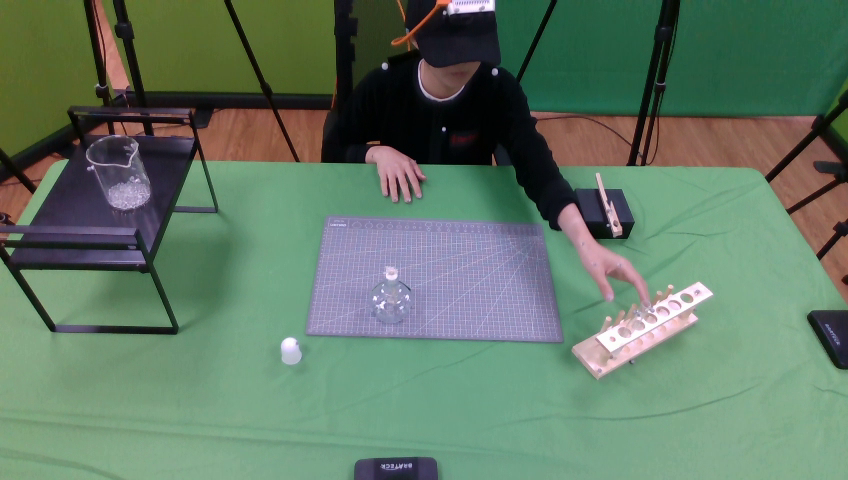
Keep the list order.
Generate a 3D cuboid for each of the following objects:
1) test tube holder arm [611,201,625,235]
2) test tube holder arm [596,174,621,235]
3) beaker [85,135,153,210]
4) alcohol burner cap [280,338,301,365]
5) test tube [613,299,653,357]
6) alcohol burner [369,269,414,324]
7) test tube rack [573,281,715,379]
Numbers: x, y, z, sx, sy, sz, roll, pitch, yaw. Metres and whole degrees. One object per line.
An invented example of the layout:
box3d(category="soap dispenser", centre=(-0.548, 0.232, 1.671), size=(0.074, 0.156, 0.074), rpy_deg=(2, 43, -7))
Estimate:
box3d(category="test tube holder arm", centre=(0.380, -0.045, 1.196), size=(0.010, 0.015, 0.087), rpy_deg=(-5, 44, 2))
box3d(category="test tube holder arm", centre=(0.373, -0.076, 1.229), size=(0.013, 0.015, 0.177), rpy_deg=(-6, 44, 2))
box3d(category="beaker", centre=(-0.475, -0.102, 0.957), size=(0.083, 0.101, 0.074), rpy_deg=(34, 53, 26))
box3d(category="alcohol burner cap", centre=(-0.220, 0.179, 0.993), size=(0.034, 0.048, 0.033), rpy_deg=(2, 46, -2))
box3d(category="test tube", centre=(0.328, 0.143, 0.963), size=(0.017, 0.151, 0.017), rpy_deg=(4, 49, -5))
box3d(category="alcohol burner", centre=(-0.056, 0.089, 1.037), size=(0.078, 0.120, 0.077), rpy_deg=(1, 47, -1))
box3d(category="test tube rack", centre=(0.378, 0.140, 1.038), size=(0.242, 0.085, 0.066), rpy_deg=(-22, 51, -23))
